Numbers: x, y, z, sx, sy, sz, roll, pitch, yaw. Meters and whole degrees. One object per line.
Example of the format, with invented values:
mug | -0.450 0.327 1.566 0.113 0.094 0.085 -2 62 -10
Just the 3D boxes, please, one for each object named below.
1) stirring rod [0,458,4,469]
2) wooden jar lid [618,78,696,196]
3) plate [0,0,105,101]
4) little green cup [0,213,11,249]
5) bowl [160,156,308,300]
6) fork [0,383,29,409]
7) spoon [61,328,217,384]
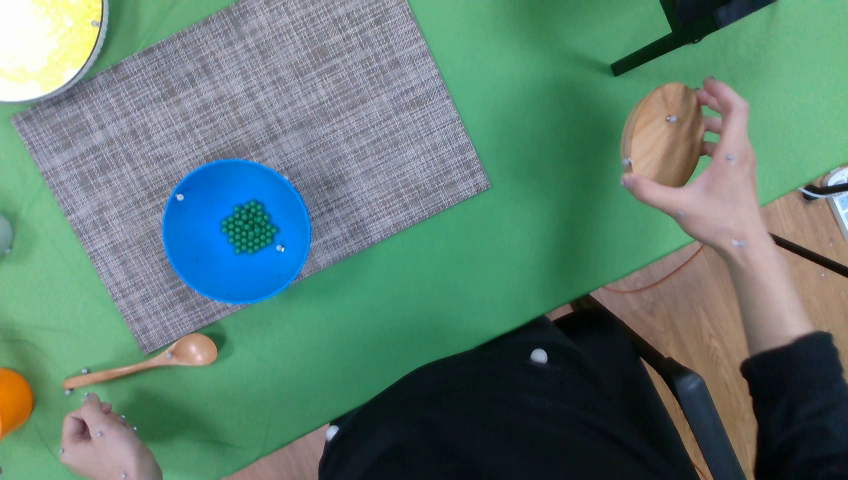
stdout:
stirring rod | -0.494 0.168 0.638 0.014 0.006 0.176 -25 99 2
wooden jar lid | 0.217 -0.095 0.564 0.109 0.020 0.109 -11 109 -36
plate | -0.439 -0.251 0.638 0.209 0.038 0.209 0 99 -3
little green cup | -0.496 -0.009 0.670 0.061 0.038 0.061 0 99 -2
bowl | -0.195 -0.016 0.658 0.151 0.076 0.151 0 98 -2
fork | -0.541 0.194 0.643 0.208 0.018 0.028 -14 104 -44
spoon | -0.334 0.140 0.707 0.194 0.021 0.042 -15 111 -1
